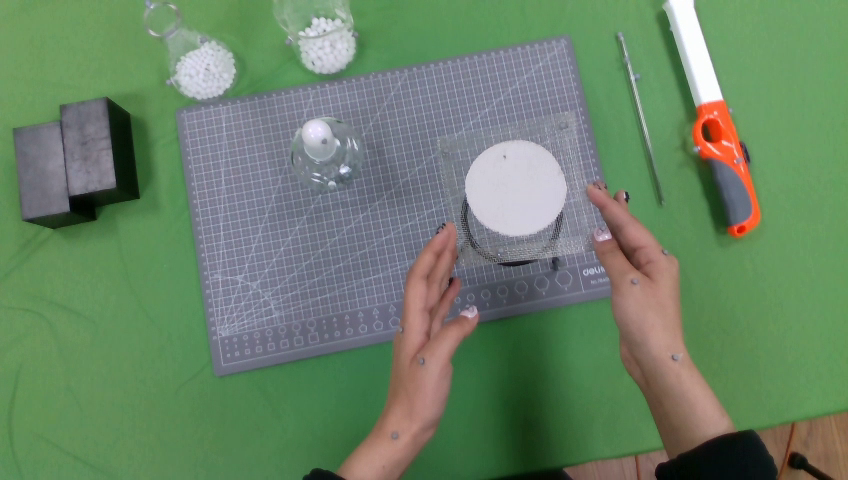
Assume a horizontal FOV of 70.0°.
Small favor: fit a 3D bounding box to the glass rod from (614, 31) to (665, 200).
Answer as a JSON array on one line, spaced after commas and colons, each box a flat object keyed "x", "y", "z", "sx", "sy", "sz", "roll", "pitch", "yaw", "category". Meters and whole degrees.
[{"x": 0.238, "y": -0.140, "z": 0.672, "sx": 0.008, "sy": 0.008, "sz": 0.199, "roll": -12, "pitch": 82, "yaw": -2, "category": "glass rod"}]

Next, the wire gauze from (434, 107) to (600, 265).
[{"x": 0.078, "y": -0.046, "z": 0.518, "sx": 0.125, "sy": 0.011, "sz": 0.121, "roll": -10, "pitch": 82, "yaw": 2, "category": "wire gauze"}]

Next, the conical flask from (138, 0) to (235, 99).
[{"x": -0.249, "y": -0.201, "z": 0.626, "sx": 0.075, "sy": 0.122, "sz": 0.075, "roll": 0, "pitch": 82, "yaw": 0, "category": "conical flask"}]

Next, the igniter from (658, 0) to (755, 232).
[{"x": 0.309, "y": -0.144, "z": 0.663, "sx": 0.057, "sy": 0.025, "sz": 0.275, "roll": -12, "pitch": 83, "yaw": -12, "category": "igniter"}]

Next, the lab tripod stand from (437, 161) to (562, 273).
[{"x": 0.074, "y": -0.013, "z": 0.592, "sx": 0.148, "sy": 0.132, "sz": 0.148, "roll": 0, "pitch": 84, "yaw": 1, "category": "lab tripod stand"}]

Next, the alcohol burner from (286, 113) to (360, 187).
[{"x": -0.105, "y": -0.096, "z": 0.613, "sx": 0.078, "sy": 0.119, "sz": 0.077, "roll": 0, "pitch": 83, "yaw": -1, "category": "alcohol burner"}]

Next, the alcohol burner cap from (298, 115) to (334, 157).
[{"x": -0.104, "y": -0.102, "z": 0.578, "sx": 0.034, "sy": 0.048, "sz": 0.033, "roll": 1, "pitch": 81, "yaw": -5, "category": "alcohol burner cap"}]

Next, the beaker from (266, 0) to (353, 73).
[{"x": -0.113, "y": -0.227, "z": 0.641, "sx": 0.084, "sy": 0.100, "sz": 0.074, "roll": 24, "pitch": 83, "yaw": 3, "category": "beaker"}]
